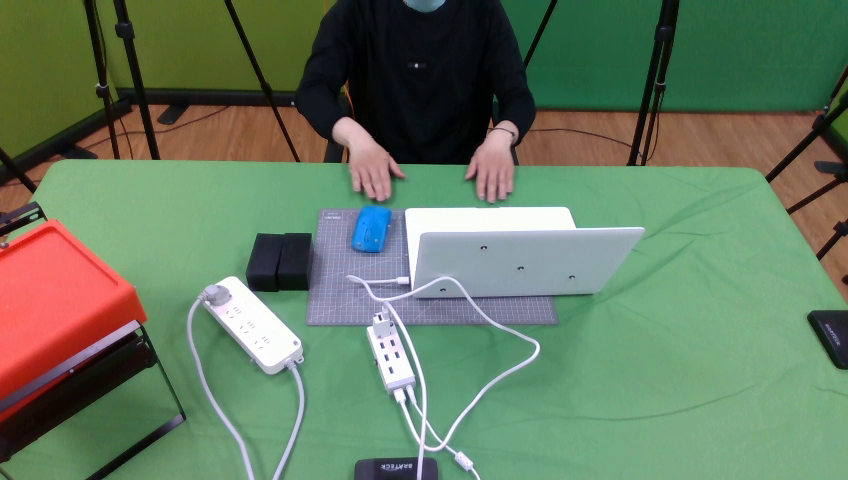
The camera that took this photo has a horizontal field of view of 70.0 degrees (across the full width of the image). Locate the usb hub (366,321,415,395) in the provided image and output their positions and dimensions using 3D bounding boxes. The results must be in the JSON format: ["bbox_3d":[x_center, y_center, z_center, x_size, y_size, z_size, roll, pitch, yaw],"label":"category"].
[{"bbox_3d":[-0.056,0.194,1.007,0.049,0.025,0.124,-13,49,-15],"label":"usb hub"}]

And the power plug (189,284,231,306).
[{"bbox_3d":[-0.367,0.100,1.037,0.072,0.053,0.035,-24,53,-26],"label":"power plug"}]

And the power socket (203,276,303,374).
[{"bbox_3d":[-0.296,0.141,1.034,0.072,0.033,0.225,-35,58,-30],"label":"power socket"}]

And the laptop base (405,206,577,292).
[{"bbox_3d":[0.143,0.018,1.196,0.355,0.023,0.234,-1,43,-6],"label":"laptop base"}]

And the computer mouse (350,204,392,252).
[{"bbox_3d":[-0.104,-0.027,1.202,0.063,0.041,0.116,11,51,4],"label":"computer mouse"}]

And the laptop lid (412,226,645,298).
[{"bbox_3d":[0.161,0.042,1.012,0.357,0.242,0.013,0,59,-7],"label":"laptop lid"}]

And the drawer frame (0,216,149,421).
[{"bbox_3d":[-0.510,0.093,0.780,0.201,0.083,0.213,31,52,23],"label":"drawer frame"}]

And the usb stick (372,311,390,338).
[{"bbox_3d":[-0.073,0.145,1.012,0.027,0.059,0.021,-13,50,-18],"label":"usb stick"}]

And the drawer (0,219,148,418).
[{"bbox_3d":[-0.509,0.093,0.783,0.193,0.073,0.211,32,53,24],"label":"drawer"}]
